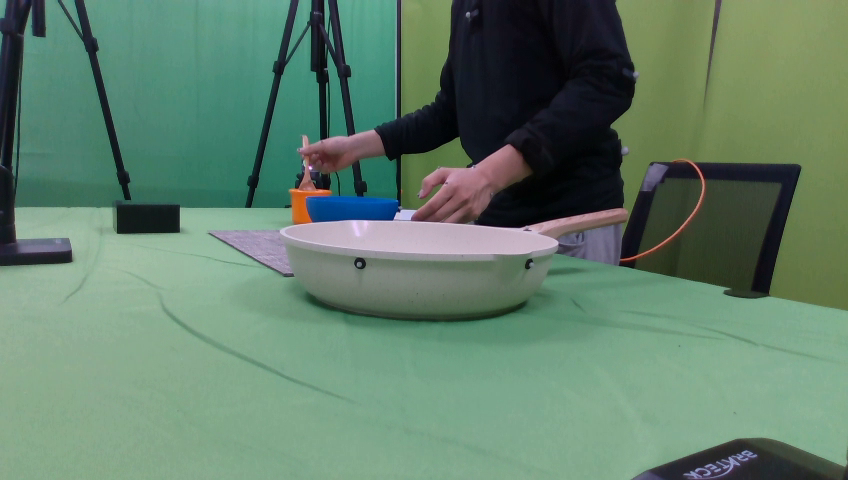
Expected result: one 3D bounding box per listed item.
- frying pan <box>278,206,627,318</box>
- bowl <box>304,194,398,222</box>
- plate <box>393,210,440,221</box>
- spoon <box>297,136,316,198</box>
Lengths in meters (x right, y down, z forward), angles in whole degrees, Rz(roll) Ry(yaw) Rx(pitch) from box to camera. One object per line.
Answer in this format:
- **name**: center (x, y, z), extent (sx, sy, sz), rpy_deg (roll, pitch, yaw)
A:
- **frying pan**: center (0.079, 0.002, 0.705), extent (0.490, 0.102, 0.305), rpy_deg (-12, 15, -33)
- **bowl**: center (-0.118, -0.030, 0.974), extent (0.151, 0.077, 0.151), rpy_deg (3, 7, 0)
- **plate**: center (-0.073, -0.035, 1.196), extent (0.208, 0.039, 0.207), rpy_deg (4, 6, 0)
- **spoon**: center (-0.265, -0.165, 1.359), extent (0.042, 0.193, 0.021), rpy_deg (4, -33, -19)
